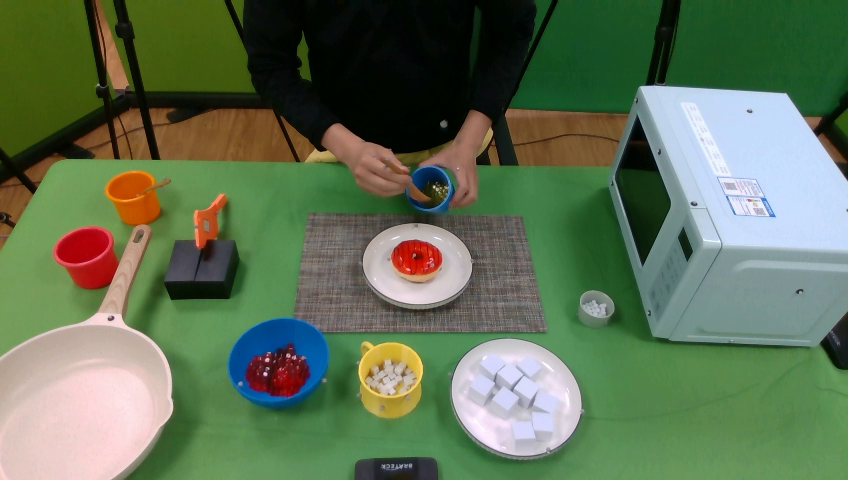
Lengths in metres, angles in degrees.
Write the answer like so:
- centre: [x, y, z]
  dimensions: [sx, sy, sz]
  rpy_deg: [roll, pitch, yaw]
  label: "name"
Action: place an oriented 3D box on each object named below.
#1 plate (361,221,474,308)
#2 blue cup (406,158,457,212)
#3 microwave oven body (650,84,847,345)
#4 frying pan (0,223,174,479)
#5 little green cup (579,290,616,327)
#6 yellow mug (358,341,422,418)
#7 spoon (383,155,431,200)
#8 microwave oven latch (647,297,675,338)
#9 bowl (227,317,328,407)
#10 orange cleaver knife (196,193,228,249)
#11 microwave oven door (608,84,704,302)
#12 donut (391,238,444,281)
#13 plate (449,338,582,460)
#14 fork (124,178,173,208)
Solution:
- centre: [-0.011, 0.049, 1.130]
  dimensions: [0.209, 0.038, 0.208]
  rpy_deg: [2, 46, -2]
  label: "plate"
- centre: [0.022, -0.093, 1.142]
  dimensions: [0.092, 0.100, 0.092]
  rpy_deg: [-3, 79, 17]
  label: "blue cup"
- centre: [0.569, -0.054, 1.115]
  dimensions: [0.326, 0.261, 0.439]
  rpy_deg: [2, 46, -1]
  label: "microwave oven body"
- centre: [-0.505, 0.169, 0.941]
  dimensions: [0.307, 0.103, 0.485]
  rpy_deg: [5, 54, -1]
  label: "frying pan"
- centre: [0.308, 0.124, 1.086]
  dimensions: [0.061, 0.039, 0.061]
  rpy_deg: [1, 45, -1]
  label: "little green cup"
- centre: [-0.063, 0.210, 0.960]
  dimensions: [0.100, 0.064, 0.130]
  rpy_deg: [-29, 54, -28]
  label: "yellow mug"
- centre: [-0.030, -0.105, 1.029]
  dimensions: [0.041, 0.195, 0.021]
  rpy_deg: [18, 78, 24]
  label: "spoon"
- centre: [0.413, 0.133, 1.060]
  dimensions: [0.030, 0.029, 0.078]
  rpy_deg: [5, 46, 2]
  label: "microwave oven latch"
- centre: [-0.223, 0.203, 0.947]
  dimensions: [0.151, 0.077, 0.150]
  rpy_deg: [2, 46, -2]
  label: "bowl"
- centre: [-0.406, -0.041, 1.163]
  dimensions: [0.012, 0.077, 0.210]
  rpy_deg: [0, 18, -3]
  label: "orange cleaver knife"
- centre: [0.424, -0.096, 1.138]
  dimensions: [0.039, 0.245, 0.353]
  rpy_deg: [2, 47, -1]
  label: "microwave oven door"
- centre: [-0.012, 0.035, 1.128]
  dimensions: [0.099, 0.048, 0.098]
  rpy_deg: [3, 43, -3]
  label: "donut"
- centre: [0.141, 0.251, 0.955]
  dimensions: [0.208, 0.039, 0.206]
  rpy_deg: [2, 46, -2]
  label: "plate"
- centre: [-0.525, -0.089, 1.153]
  dimensions: [0.207, 0.019, 0.028]
  rpy_deg: [-18, 27, 45]
  label: "fork"
